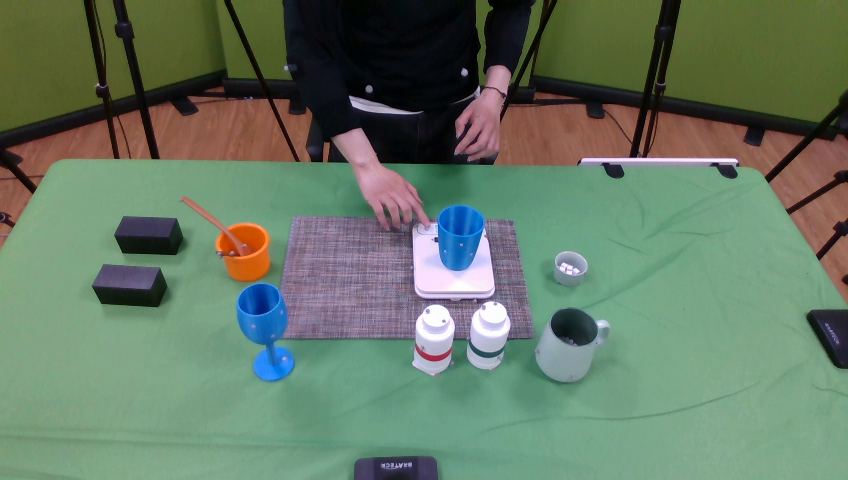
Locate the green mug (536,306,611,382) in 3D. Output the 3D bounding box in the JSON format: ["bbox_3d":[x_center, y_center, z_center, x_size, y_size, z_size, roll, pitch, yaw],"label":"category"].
[{"bbox_3d":[0.250,0.167,0.996,0.125,0.105,0.092,-15,48,-19],"label":"green mug"}]

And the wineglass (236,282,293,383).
[{"bbox_3d":[-0.243,0.143,0.934,0.074,0.173,0.073,2,46,-2],"label":"wineglass"}]

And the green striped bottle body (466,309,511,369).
[{"bbox_3d":[0.105,0.154,0.987,0.063,0.120,0.063,2,46,-2],"label":"green striped bottle body"}]

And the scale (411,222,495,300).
[{"bbox_3d":[0.052,0.031,1.158,0.149,0.032,0.199,1,46,-4],"label":"scale"}]

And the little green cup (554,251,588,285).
[{"bbox_3d":[0.276,0.055,1.151,0.061,0.039,0.061,1,46,-1],"label":"little green cup"}]

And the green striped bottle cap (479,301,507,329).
[{"bbox_3d":[0.109,0.118,0.950,0.044,0.020,0.044,2,46,-2],"label":"green striped bottle cap"}]

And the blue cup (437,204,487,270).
[{"bbox_3d":[0.062,0.000,1.097,0.093,0.101,0.092,2,44,-2],"label":"blue cup"}]

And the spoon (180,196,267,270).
[{"bbox_3d":[-0.360,-0.014,1.094,0.021,0.194,0.041,-27,26,31],"label":"spoon"}]

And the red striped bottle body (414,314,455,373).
[{"bbox_3d":[0.016,0.158,0.977,0.063,0.120,0.062,2,46,-2],"label":"red striped bottle body"}]

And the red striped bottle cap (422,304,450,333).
[{"bbox_3d":[0.018,0.121,0.939,0.044,0.018,0.044,0,48,0],"label":"red striped bottle cap"}]

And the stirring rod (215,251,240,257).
[{"bbox_3d":[-0.339,0.024,1.059,0.014,0.176,0.006,16,86,-6],"label":"stirring rod"}]
